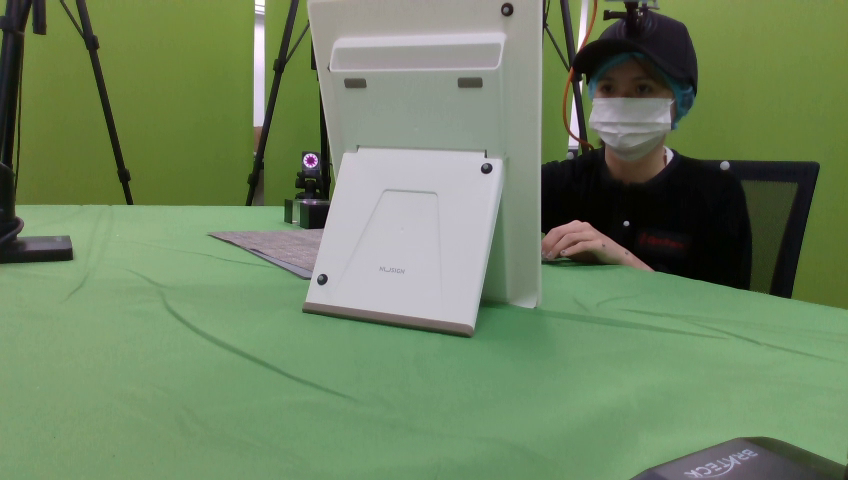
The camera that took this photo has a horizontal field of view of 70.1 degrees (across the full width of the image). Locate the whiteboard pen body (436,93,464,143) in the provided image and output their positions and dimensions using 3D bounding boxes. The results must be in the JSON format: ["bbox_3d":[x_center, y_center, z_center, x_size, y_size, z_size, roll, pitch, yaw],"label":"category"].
[{"bbox_3d":[0.026,-0.127,0.627,0.017,0.017,0.141,4,30,9],"label":"whiteboard pen body"}]

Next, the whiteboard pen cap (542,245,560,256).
[{"bbox_3d":[0.186,0.015,0.908,0.033,0.018,0.018,-1,6,21],"label":"whiteboard pen cap"}]

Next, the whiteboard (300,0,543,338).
[{"bbox_3d":[-0.020,-0.050,0.523,0.216,0.305,0.144,6,27,22],"label":"whiteboard"}]
